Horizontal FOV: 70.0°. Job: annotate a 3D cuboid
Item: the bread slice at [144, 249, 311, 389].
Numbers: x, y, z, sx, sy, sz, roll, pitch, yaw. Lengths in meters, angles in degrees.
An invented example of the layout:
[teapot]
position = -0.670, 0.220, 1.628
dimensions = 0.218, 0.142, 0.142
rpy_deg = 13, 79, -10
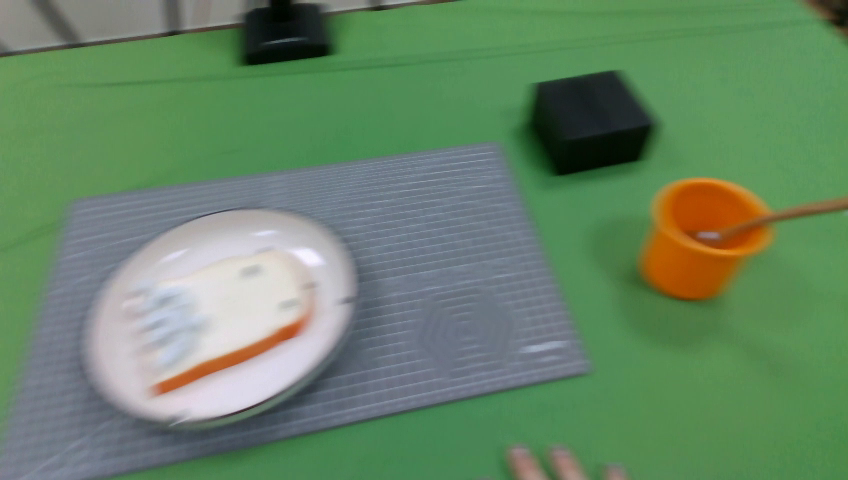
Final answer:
[bread slice]
position = -0.164, 0.055, 0.511
dimensions = 0.132, 0.019, 0.103
rpy_deg = -22, 53, -16

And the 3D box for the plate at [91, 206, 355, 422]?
[plate]
position = -0.161, 0.058, 0.505
dimensions = 0.209, 0.038, 0.207
rpy_deg = 1, 49, 0

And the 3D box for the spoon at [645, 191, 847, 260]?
[spoon]
position = 0.274, -0.015, 0.500
dimensions = 0.022, 0.193, 0.041
rpy_deg = 50, 50, -15
